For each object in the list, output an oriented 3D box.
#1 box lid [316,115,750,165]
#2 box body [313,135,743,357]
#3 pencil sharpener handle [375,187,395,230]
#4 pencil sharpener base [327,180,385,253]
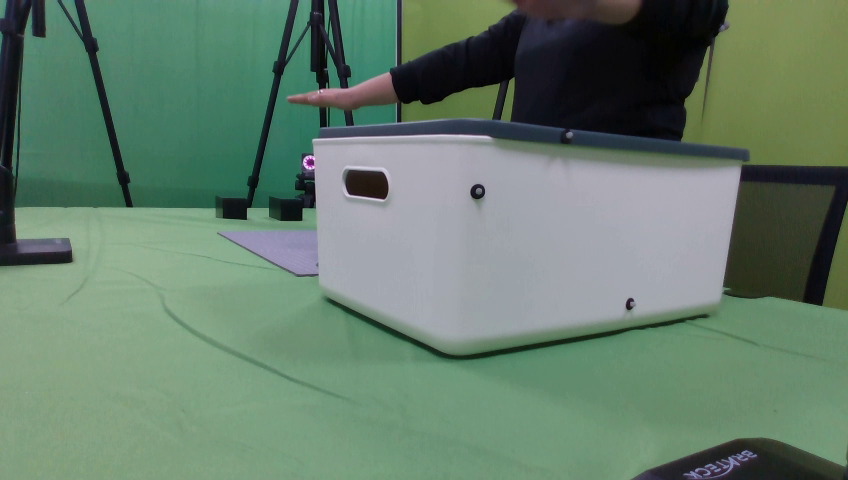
[{"bbox_3d":[0.106,-0.089,0.593,0.374,0.015,0.262,-1,6,-35],"label":"box lid"},{"bbox_3d":[0.099,-0.011,0.596,0.366,0.160,0.253,-2,8,-34],"label":"box body"},{"bbox_3d":[-0.059,-0.050,0.958,0.031,0.067,0.036,0,14,-30],"label":"pencil sharpener handle"},{"bbox_3d":[-0.103,-0.037,0.932,0.077,0.107,0.061,0,7,-30],"label":"pencil sharpener base"}]
